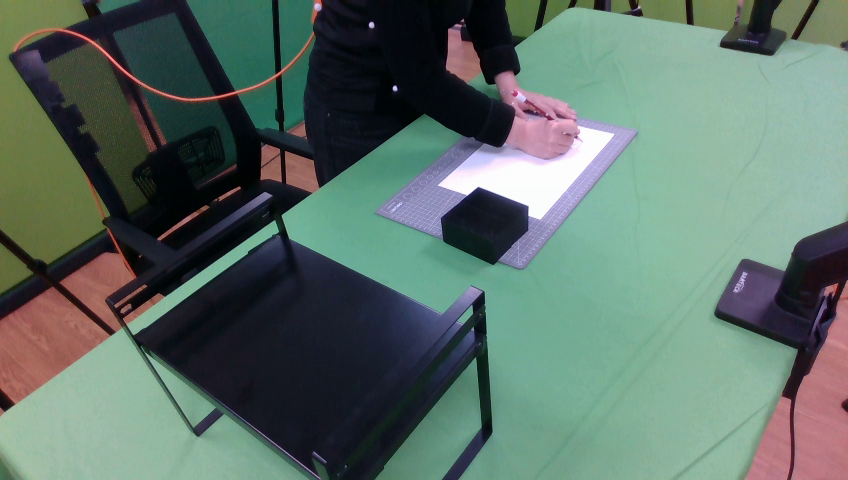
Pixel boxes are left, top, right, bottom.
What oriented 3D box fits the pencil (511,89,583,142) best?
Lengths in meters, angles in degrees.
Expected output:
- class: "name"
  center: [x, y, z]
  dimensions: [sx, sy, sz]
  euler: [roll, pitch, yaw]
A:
- class: "pencil"
  center: [0.230, -0.224, 1.108]
  dimensions: [0.196, 0.012, 0.012]
  euler: [26, 28, -31]
